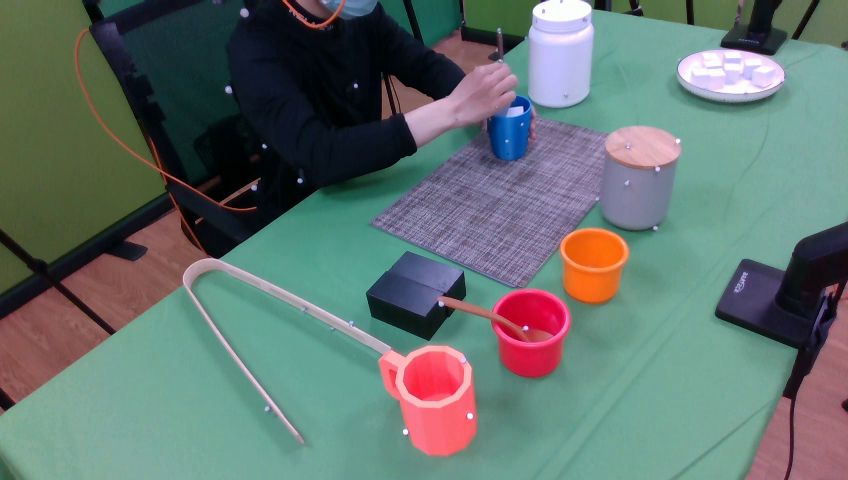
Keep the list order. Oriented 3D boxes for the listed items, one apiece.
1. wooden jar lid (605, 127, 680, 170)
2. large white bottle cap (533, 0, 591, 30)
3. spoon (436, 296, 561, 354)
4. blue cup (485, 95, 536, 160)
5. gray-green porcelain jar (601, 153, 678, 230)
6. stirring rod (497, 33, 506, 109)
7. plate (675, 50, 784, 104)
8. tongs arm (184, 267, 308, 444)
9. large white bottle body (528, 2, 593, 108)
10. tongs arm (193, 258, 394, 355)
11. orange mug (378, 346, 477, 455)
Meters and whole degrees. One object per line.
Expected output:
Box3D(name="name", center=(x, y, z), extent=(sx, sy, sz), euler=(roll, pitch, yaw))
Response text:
Box3D(name="wooden jar lid", center=(0.327, -0.134, 0.909), extent=(0.108, 0.021, 0.108), euler=(-2, 43, 2))
Box3D(name="large white bottle cap", center=(0.274, -0.450, 1.204), extent=(0.115, 0.018, 0.114), euler=(-4, 41, 4))
Box3D(name="spoon", center=(0.096, 0.102, 0.750), extent=(0.195, 0.021, 0.041), euler=(28, 30, -28))
Box3D(name="blue cup", center=(0.159, -0.206, 1.129), extent=(0.092, 0.100, 0.092), euler=(-4, 39, 4))
Box3D(name="gray-green porcelain jar", center=(0.334, -0.087, 0.949), extent=(0.106, 0.127, 0.105), euler=(-4, 40, 4))
Box3D(name="stirring rod", center=(0.142, -0.289, 1.100), extent=(0.006, 0.177, 0.014), euler=(8, 40, 22))
Box3D(name="plate", center=(0.632, -0.336, 1.262), extent=(0.207, 0.039, 0.206), euler=(-4, 41, 4))
Box3D(name="tongs arm", center=(-0.259, 0.148, 0.843), extent=(0.028, 0.028, 0.384), euler=(-38, 49, -18))
Box3D(name="large white bottle body", center=(0.283, -0.386, 1.259), extent=(0.130, 0.185, 0.130), euler=(-5, 41, 4))
Box3D(name="tongs arm", center=(-0.204, 0.100, 0.881), extent=(0.382, 0.027, 0.051), euler=(23, 55, 32))
Box3D(name="orange mug", center=(0.002, 0.179, 0.708), extent=(0.125, 0.101, 0.083), euler=(25, 50, 27))
